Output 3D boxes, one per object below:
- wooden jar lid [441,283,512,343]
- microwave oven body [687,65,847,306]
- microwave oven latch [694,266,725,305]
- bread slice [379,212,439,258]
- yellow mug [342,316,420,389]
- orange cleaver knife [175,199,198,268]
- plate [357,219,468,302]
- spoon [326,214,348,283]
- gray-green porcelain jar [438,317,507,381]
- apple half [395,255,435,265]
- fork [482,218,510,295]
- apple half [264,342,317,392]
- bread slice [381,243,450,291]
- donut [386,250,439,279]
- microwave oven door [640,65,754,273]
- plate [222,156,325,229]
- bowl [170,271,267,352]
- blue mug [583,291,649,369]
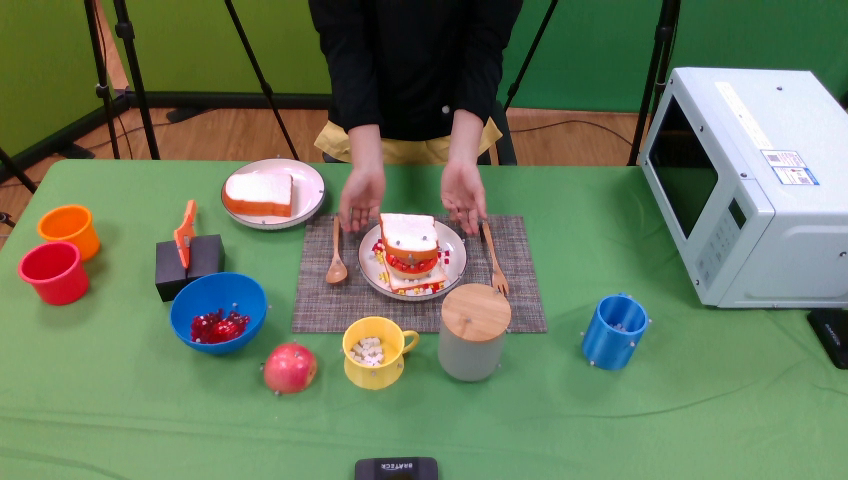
[{"bbox_3d":[0.080,0.114,0.931,0.108,0.021,0.107,1,49,-1],"label":"wooden jar lid"},{"bbox_3d":[0.669,-0.111,1.176,0.326,0.261,0.439,0,46,-3],"label":"microwave oven body"},{"bbox_3d":[0.523,0.082,1.115,0.030,0.029,0.078,3,46,0],"label":"microwave oven latch"},{"bbox_3d":[-0.024,-0.012,1.064,0.105,0.019,0.130,3,33,-10],"label":"bread slice"},{"bbox_3d":[-0.067,0.177,0.990,0.131,0.064,0.099,-16,50,-19],"label":"yellow mug"},{"bbox_3d":[-0.438,-0.017,1.138,0.012,0.077,0.210,-14,27,-7],"label":"orange cleaver knife"},{"bbox_3d":[-0.021,0.037,1.141,0.208,0.039,0.206,2,46,-2],"label":"plate"},{"bbox_3d":[-0.167,0.013,1.164,0.041,0.022,0.192,-16,47,9],"label":"spoon"},{"bbox_3d":[0.076,0.158,0.977,0.106,0.127,0.105,2,47,-2],"label":"gray-green porcelain jar"},{"bbox_3d":[-0.017,0.005,1.084,0.081,0.033,0.081,5,49,-6],"label":"apple half"},{"bbox_3d":[0.136,0.029,1.172,0.028,0.019,0.206,-9,48,1],"label":"fork"},{"bbox_3d":[-0.214,0.198,0.970,0.074,0.053,0.080,19,48,11],"label":"apple half"},{"bbox_3d":[-0.026,0.038,1.139,0.107,0.018,0.133,-12,47,-17],"label":"bread slice"},{"bbox_3d":[-0.021,0.029,1.110,0.099,0.048,0.098,2,46,-2],"label":"donut"},{"bbox_3d":[0.523,-0.147,1.193,0.039,0.245,0.353,0,47,-3],"label":"microwave oven door"},{"bbox_3d":[-0.308,-0.095,1.251,0.209,0.038,0.208,2,46,-2],"label":"plate"},{"bbox_3d":[-0.333,0.132,1.006,0.151,0.077,0.150,2,46,-2],"label":"bowl"},{"bbox_3d":[0.324,0.142,1.023,0.082,0.106,0.116,15,47,11],"label":"blue mug"}]
